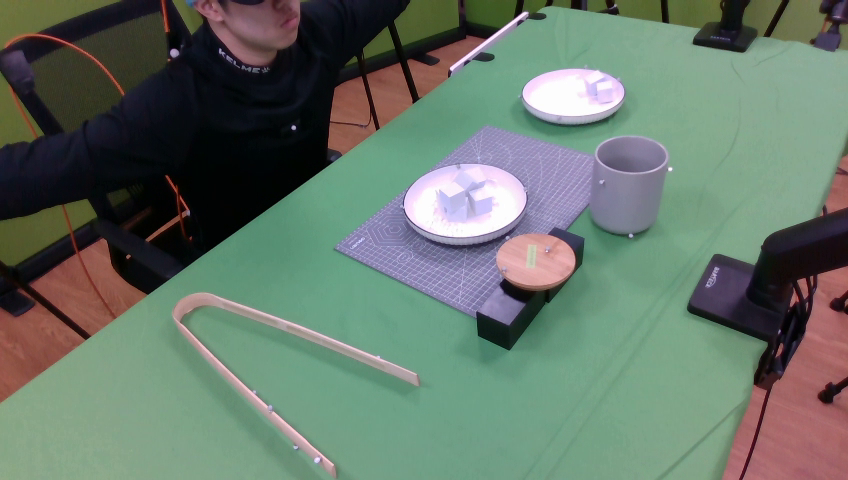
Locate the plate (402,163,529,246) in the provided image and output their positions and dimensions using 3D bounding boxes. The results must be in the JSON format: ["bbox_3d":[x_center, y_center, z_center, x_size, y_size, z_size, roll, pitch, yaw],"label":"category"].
[{"bbox_3d":[0.069,-0.056,1.008,0.209,0.038,0.208,-4,40,4],"label":"plate"}]

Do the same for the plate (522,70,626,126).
[{"bbox_3d":[0.308,-0.290,1.251,0.207,0.039,0.206,-4,40,4],"label":"plate"}]

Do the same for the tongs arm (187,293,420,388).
[{"bbox_3d":[-0.177,0.134,0.836,0.385,0.028,0.028,15,47,24],"label":"tongs arm"}]

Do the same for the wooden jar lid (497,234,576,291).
[{"bbox_3d":[0.155,0.032,0.834,0.108,0.021,0.108,-5,40,5],"label":"wooden jar lid"}]

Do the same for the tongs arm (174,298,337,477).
[{"bbox_3d":[-0.226,0.176,0.785,0.381,0.026,0.051,26,48,34],"label":"tongs arm"}]

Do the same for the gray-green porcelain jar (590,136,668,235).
[{"bbox_3d":[0.314,-0.080,0.937,0.106,0.127,0.105,-4,41,4],"label":"gray-green porcelain jar"}]
